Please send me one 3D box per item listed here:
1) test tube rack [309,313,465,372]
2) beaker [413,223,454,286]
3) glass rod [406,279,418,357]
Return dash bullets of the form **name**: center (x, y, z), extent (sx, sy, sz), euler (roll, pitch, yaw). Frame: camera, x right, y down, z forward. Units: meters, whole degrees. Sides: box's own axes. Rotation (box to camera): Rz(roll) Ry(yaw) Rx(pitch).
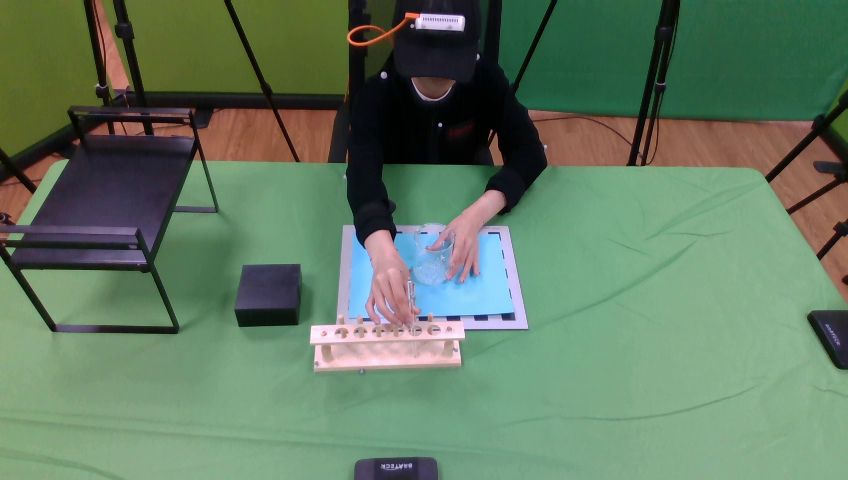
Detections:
- **test tube rack**: center (-0.059, 0.161, 0.990), extent (0.242, 0.085, 0.066), euler (-1, 46, -5)
- **beaker**: center (0.018, 0.027, 1.110), extent (0.073, 0.101, 0.084), euler (37, 53, 28)
- **glass rod**: center (-0.017, 0.125, 0.935), extent (0.008, 0.201, 0.008), euler (-2, 47, 2)
